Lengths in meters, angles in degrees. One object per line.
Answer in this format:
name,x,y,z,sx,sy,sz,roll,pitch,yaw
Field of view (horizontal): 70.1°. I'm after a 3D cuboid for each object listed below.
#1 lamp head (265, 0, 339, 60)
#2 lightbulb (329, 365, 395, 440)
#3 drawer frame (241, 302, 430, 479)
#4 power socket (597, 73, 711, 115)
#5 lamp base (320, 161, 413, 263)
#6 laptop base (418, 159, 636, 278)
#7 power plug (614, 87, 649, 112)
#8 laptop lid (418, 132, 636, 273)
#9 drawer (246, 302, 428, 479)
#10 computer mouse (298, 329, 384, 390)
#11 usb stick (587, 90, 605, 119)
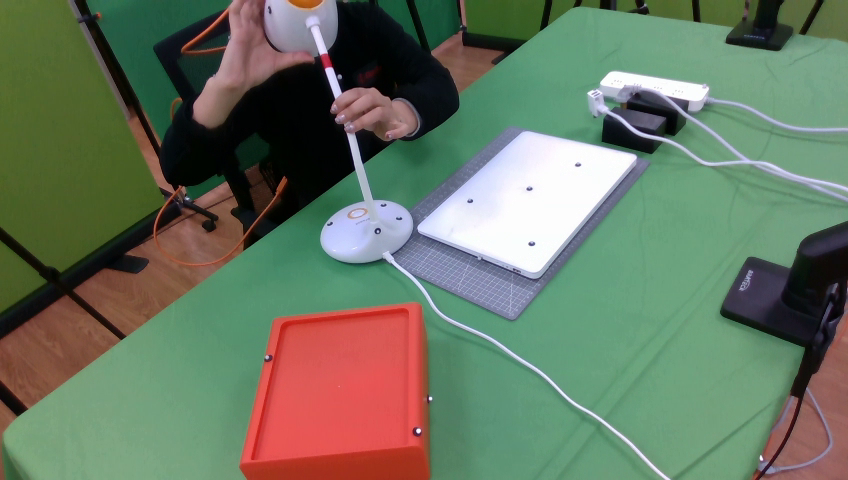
lamp head,-0.174,-0.333,0.879,0.113,0.112,0.122,-23,2,-16
lightbulb,-0.080,0.195,0.738,0.060,0.060,0.107,-32,61,-25
drawer frame,-0.095,0.184,0.740,0.202,0.083,0.212,-7,40,3
power socket,0.469,-0.304,1.249,0.225,0.033,0.072,20,49,30
lamp base,-0.101,-0.071,0.966,0.161,0.181,0.177,-28,44,-20
laptop base,0.185,-0.074,1.042,0.233,0.023,0.355,19,48,35
power plug,0.406,-0.275,1.192,0.035,0.053,0.072,-15,24,-16
laptop lid,0.181,-0.084,1.036,0.239,0.013,0.358,22,49,35
drawer,-0.097,0.183,0.743,0.194,0.073,0.210,-6,41,3
computer mouse,-0.111,0.156,0.799,0.117,0.041,0.062,-15,41,1
usb stick,0.334,-0.258,1.170,0.021,0.059,0.027,-28,44,-5
